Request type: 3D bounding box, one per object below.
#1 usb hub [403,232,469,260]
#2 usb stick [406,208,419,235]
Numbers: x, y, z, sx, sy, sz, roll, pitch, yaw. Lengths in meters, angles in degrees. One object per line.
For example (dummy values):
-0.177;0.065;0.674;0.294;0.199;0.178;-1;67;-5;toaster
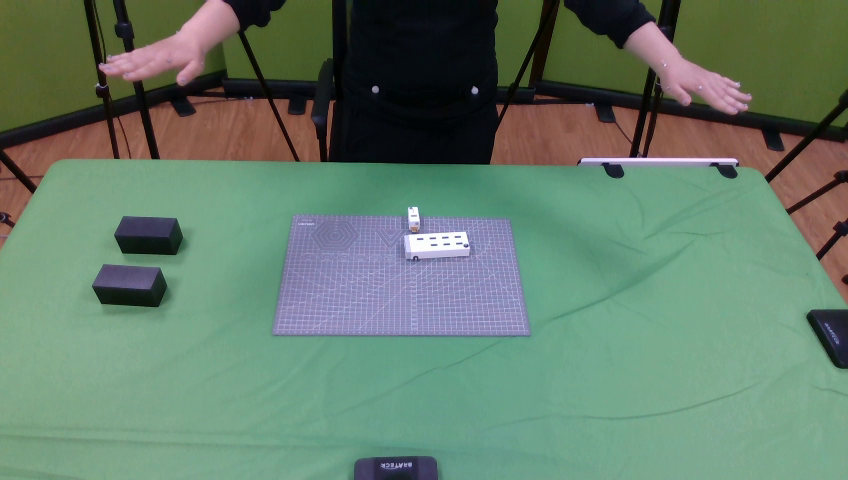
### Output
0.023;0.012;1.181;0.125;0.025;0.049;-3;46;-7;usb hub
-0.023;-0.037;1.226;0.021;0.027;0.059;0;49;-8;usb stick
